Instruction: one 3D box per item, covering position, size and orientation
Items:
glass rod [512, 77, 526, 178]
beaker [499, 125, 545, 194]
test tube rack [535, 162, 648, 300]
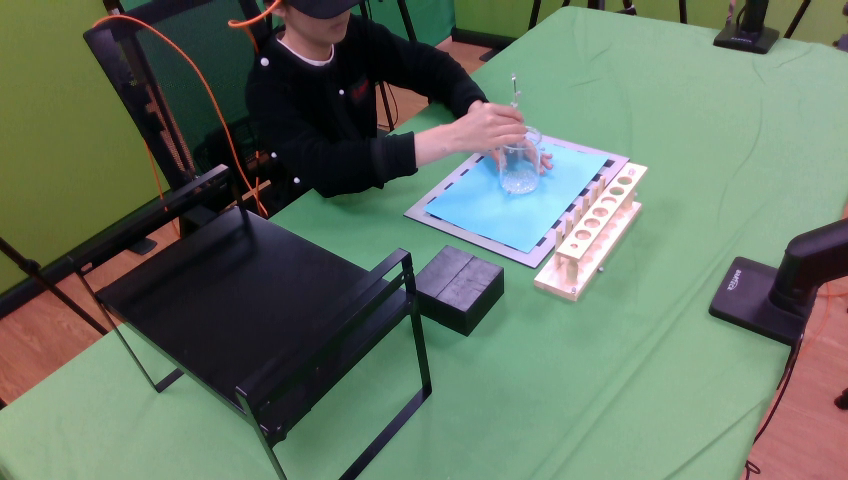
[{"bbox_3d":[0.162,-0.184,1.018,0.008,0.201,0.008,-8,43,8],"label":"glass rod"},{"bbox_3d":[0.168,-0.138,1.046,0.074,0.101,0.083,-8,41,-1],"label":"beaker"},{"bbox_3d":[0.257,-0.024,0.916,0.066,0.085,0.243,22,49,30],"label":"test tube rack"}]
